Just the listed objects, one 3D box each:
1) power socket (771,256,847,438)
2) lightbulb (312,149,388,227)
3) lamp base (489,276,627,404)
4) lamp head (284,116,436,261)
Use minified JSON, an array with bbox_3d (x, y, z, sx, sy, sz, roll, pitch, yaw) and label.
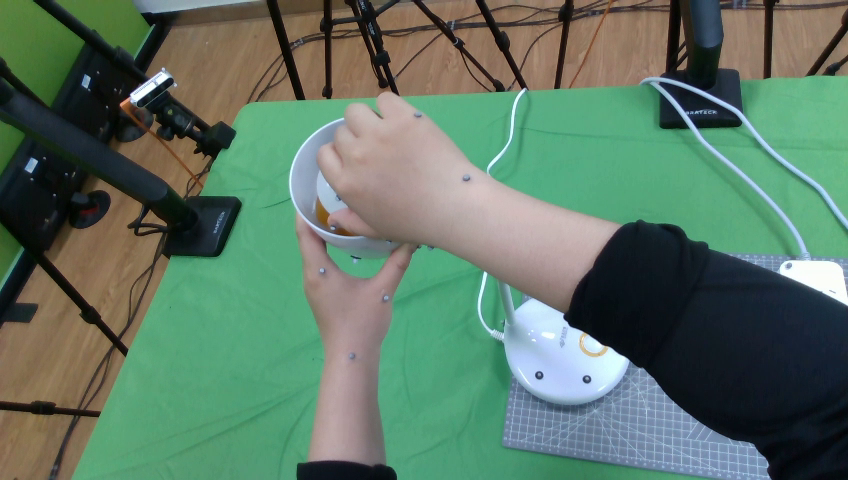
[{"bbox_3d":[0.465,0.117,0.719,0.072,0.033,0.225,2,58,17],"label":"power socket"},{"bbox_3d":[-0.057,-0.035,0.504,0.059,0.108,0.059,-1,74,4],"label":"lightbulb"},{"bbox_3d":[0.151,0.096,0.737,0.178,0.182,0.159,-4,57,18],"label":"lamp base"},{"bbox_3d":[-0.047,-0.030,0.531,0.112,0.124,0.111,-4,67,10],"label":"lamp head"}]
